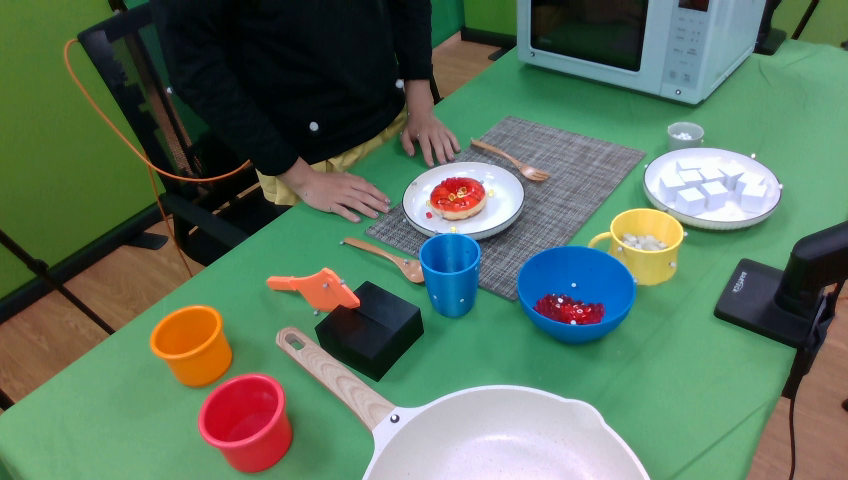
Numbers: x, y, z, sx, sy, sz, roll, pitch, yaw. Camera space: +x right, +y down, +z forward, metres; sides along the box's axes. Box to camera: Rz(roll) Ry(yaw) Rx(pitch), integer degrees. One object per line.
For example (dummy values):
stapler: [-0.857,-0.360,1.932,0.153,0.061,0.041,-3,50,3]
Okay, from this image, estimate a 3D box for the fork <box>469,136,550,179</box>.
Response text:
fork: [0.154,-0.156,1.126,0.028,0.019,0.205,-40,51,-16]

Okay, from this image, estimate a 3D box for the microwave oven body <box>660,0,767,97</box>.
microwave oven body: [0.473,-0.516,1.313,0.438,0.261,0.327,26,51,34]

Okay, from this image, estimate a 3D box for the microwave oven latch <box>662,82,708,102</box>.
microwave oven latch: [0.518,-0.298,1.203,0.078,0.029,0.030,28,53,35]

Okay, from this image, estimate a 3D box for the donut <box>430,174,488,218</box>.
donut: [0.058,-0.076,1.015,0.099,0.048,0.098,-6,38,5]

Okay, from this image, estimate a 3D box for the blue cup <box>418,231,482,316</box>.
blue cup: [0.040,0.053,0.843,0.092,0.100,0.092,-4,43,4]

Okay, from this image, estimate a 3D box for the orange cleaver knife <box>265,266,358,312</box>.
orange cleaver knife: [-0.165,0.073,0.864,0.210,0.077,0.012,-6,31,50]

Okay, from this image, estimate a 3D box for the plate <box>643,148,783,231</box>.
plate: [0.464,-0.080,0.986,0.207,0.039,0.206,-4,41,4]

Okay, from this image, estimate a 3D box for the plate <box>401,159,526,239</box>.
plate: [0.067,-0.065,1.019,0.209,0.038,0.208,-4,40,4]

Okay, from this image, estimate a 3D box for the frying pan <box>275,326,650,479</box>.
frying pan: [0.003,0.229,0.641,0.484,0.103,0.308,34,54,28]

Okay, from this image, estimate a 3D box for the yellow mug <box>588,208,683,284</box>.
yellow mug: [0.305,0.009,0.884,0.131,0.064,0.099,-4,40,5]

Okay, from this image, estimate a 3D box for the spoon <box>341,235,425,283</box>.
spoon: [-0.061,0.022,0.953,0.192,0.022,0.041,24,71,30]

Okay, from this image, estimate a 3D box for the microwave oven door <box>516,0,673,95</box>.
microwave oven door: [0.344,-0.458,1.256,0.353,0.245,0.039,26,51,33]

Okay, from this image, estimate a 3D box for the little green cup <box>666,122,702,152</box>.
little green cup: [0.471,-0.184,1.102,0.061,0.039,0.061,-5,41,5]

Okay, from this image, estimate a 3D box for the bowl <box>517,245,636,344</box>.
bowl: [0.200,0.084,0.803,0.151,0.077,0.150,-4,40,4]
